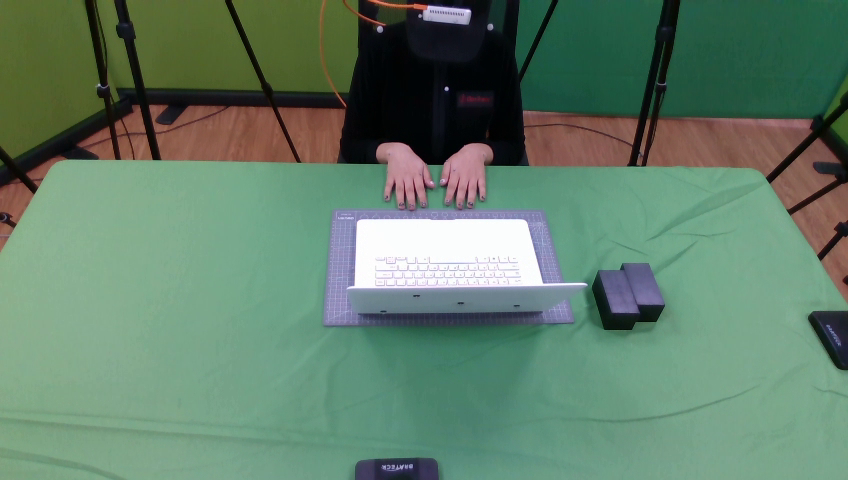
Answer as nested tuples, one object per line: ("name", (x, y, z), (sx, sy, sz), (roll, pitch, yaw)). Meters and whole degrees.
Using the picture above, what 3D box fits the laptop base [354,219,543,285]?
("laptop base", (0.043, 0.044, 1.162), (0.355, 0.023, 0.234), (0, 43, -5))

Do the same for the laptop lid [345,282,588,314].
("laptop lid", (0.057, 0.096, 0.969), (0.357, 0.242, 0.013), (0, 74, -6))
